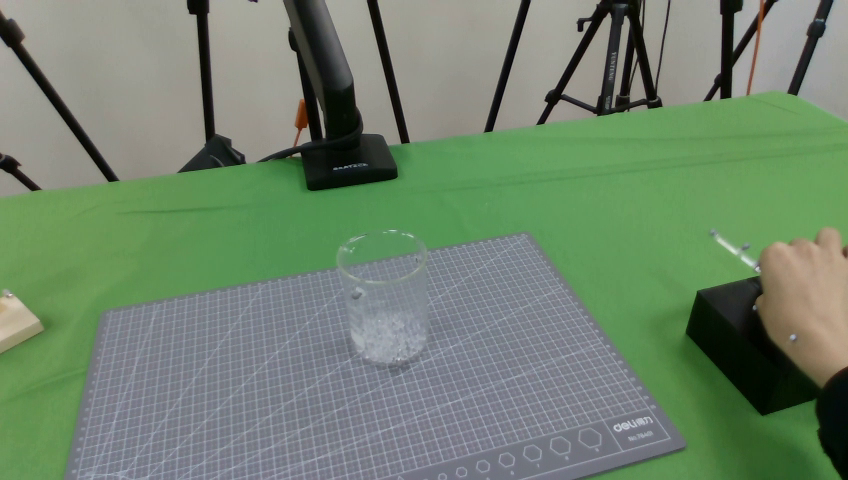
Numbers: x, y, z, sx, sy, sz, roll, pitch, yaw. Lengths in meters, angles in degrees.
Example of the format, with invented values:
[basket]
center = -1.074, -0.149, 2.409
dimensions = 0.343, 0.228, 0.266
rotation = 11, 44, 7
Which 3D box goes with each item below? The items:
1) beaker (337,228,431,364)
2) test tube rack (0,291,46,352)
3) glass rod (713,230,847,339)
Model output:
[beaker]
center = -0.034, 0.050, 0.522
dimensions = 0.083, 0.101, 0.074
rotation = 21, 42, 30
[test tube rack]
center = -0.463, 0.093, 0.495
dimensions = 0.066, 0.086, 0.242
rotation = 26, 44, 32
[glass rod]
center = 0.314, 0.049, 0.500
dimensions = 0.008, 0.008, 0.197
rotation = -17, 43, -19
